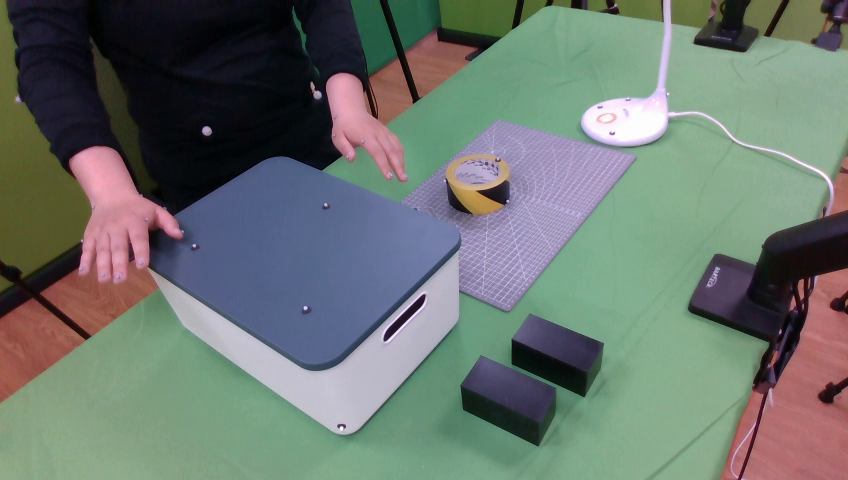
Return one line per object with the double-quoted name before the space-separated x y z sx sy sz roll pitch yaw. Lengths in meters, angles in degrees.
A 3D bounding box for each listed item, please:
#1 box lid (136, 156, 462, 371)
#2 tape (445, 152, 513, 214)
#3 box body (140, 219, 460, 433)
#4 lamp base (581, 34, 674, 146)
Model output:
"box lid" -0.162 0.004 0.765 0.368 0.015 0.264 23 49 31
"tape" 0.095 -0.099 1.043 0.117 0.053 0.116 -4 41 4
"box body" -0.156 0.058 0.814 0.361 0.161 0.255 24 49 31
"lamp base" 0.392 -0.291 1.129 0.180 0.181 0.159 -11 41 -8
